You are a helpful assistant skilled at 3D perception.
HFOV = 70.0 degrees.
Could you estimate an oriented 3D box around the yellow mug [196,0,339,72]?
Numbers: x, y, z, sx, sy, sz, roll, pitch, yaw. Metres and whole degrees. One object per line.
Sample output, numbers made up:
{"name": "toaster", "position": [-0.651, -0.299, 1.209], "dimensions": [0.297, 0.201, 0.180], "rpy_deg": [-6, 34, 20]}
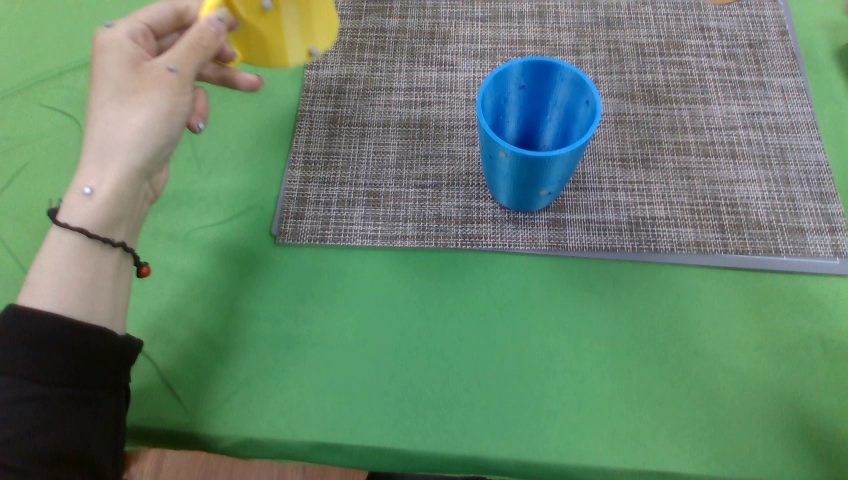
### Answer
{"name": "yellow mug", "position": [-0.121, -0.174, 0.441], "dimensions": [0.099, 0.064, 0.130], "rpy_deg": [25, 60, 10]}

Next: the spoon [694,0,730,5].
{"name": "spoon", "position": [0.237, -0.178, 0.343], "dimensions": [0.022, 0.192, 0.041], "rpy_deg": [21, 80, -26]}

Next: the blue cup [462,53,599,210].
{"name": "blue cup", "position": [0.078, -0.072, 0.454], "dimensions": [0.092, 0.101, 0.092], "rpy_deg": [-1, 64, 3]}
